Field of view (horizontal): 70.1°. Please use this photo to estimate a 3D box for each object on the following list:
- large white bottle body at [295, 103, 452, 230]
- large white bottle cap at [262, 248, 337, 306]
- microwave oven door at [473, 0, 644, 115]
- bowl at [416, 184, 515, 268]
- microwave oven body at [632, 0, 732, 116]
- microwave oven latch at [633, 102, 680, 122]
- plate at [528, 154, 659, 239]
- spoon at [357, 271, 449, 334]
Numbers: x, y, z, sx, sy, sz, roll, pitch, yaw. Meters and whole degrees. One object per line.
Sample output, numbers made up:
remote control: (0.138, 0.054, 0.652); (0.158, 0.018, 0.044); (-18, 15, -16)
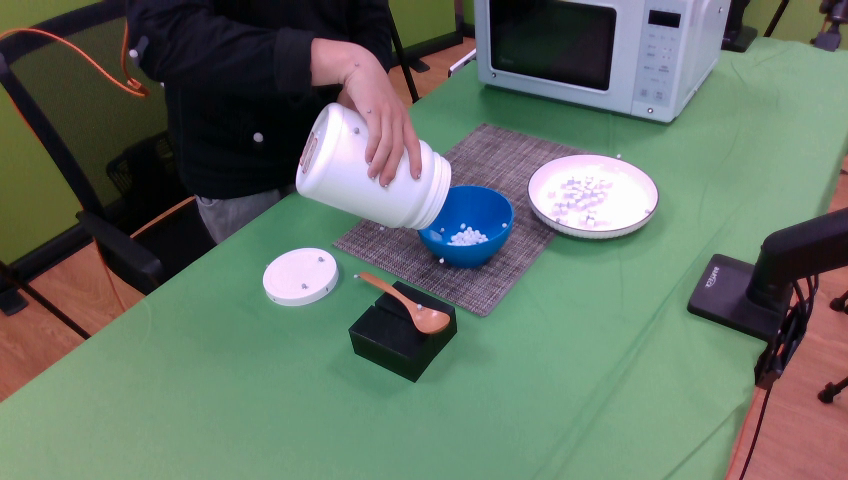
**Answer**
large white bottle body: (-0.067, -0.093, 0.826); (0.186, 0.130, 0.130); (20, 34, -23)
large white bottle cap: (-0.193, 0.056, 0.934); (0.115, 0.018, 0.114); (-4, 41, 4)
microwave oven door: (0.257, -0.396, 1.199); (0.353, 0.245, 0.039); (21, 48, 29)
bowl: (0.063, -0.011, 0.922); (0.151, 0.077, 0.150); (-4, 40, 4)
microwave oven body: (0.377, -0.463, 1.267); (0.438, 0.261, 0.327); (21, 48, 30)
microwave oven latch: (0.444, -0.249, 1.157); (0.078, 0.029, 0.030); (21, 49, 30)
plate: (0.274, -0.069, 0.993); (0.209, 0.038, 0.208); (-2, 42, 2)
spoon: (-0.035, 0.078, 0.812); (0.042, 0.022, 0.192); (-34, 42, -24)
